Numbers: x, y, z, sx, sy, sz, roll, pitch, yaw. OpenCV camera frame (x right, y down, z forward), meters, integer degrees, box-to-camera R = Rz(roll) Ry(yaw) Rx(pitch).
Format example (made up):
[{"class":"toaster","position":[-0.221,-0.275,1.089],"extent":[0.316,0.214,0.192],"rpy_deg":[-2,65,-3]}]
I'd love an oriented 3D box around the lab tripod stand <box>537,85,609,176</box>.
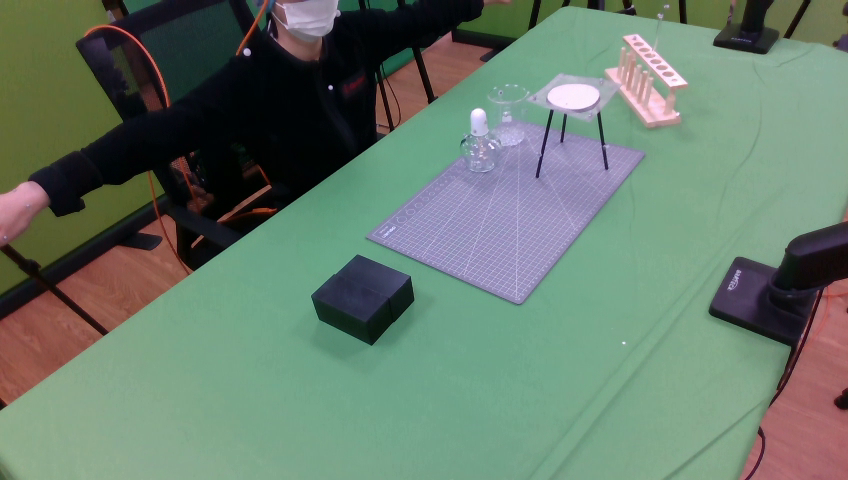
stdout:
[{"class":"lab tripod stand","position":[0.259,-0.192,1.068],"extent":[0.148,0.132,0.147],"rpy_deg":[-4,42,4]}]

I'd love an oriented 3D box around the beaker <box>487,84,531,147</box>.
[{"class":"beaker","position":[0.163,-0.237,1.161],"extent":[0.084,0.101,0.073],"rpy_deg":[-10,41,-3]}]

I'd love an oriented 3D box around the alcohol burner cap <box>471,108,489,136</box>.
[{"class":"alcohol burner cap","position":[0.098,-0.211,1.074],"extent":[0.034,0.048,0.033],"rpy_deg":[-6,41,6]}]

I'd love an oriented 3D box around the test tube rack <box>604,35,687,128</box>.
[{"class":"test tube rack","position":[0.447,-0.330,1.241],"extent":[0.067,0.085,0.241],"rpy_deg":[-9,41,-2]}]

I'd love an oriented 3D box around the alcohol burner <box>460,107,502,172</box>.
[{"class":"alcohol burner","position":[0.102,-0.185,1.098],"extent":[0.078,0.119,0.077],"rpy_deg":[-6,40,5]}]

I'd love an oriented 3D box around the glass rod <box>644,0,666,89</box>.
[{"class":"glass rod","position":[0.465,-0.397,1.215],"extent":[0.008,0.200,0.008],"rpy_deg":[0,39,1]}]

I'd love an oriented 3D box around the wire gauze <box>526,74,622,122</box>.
[{"class":"wire gauze","position":[0.255,-0.248,1.030],"extent":[0.124,0.011,0.122],"rpy_deg":[24,51,32]}]
